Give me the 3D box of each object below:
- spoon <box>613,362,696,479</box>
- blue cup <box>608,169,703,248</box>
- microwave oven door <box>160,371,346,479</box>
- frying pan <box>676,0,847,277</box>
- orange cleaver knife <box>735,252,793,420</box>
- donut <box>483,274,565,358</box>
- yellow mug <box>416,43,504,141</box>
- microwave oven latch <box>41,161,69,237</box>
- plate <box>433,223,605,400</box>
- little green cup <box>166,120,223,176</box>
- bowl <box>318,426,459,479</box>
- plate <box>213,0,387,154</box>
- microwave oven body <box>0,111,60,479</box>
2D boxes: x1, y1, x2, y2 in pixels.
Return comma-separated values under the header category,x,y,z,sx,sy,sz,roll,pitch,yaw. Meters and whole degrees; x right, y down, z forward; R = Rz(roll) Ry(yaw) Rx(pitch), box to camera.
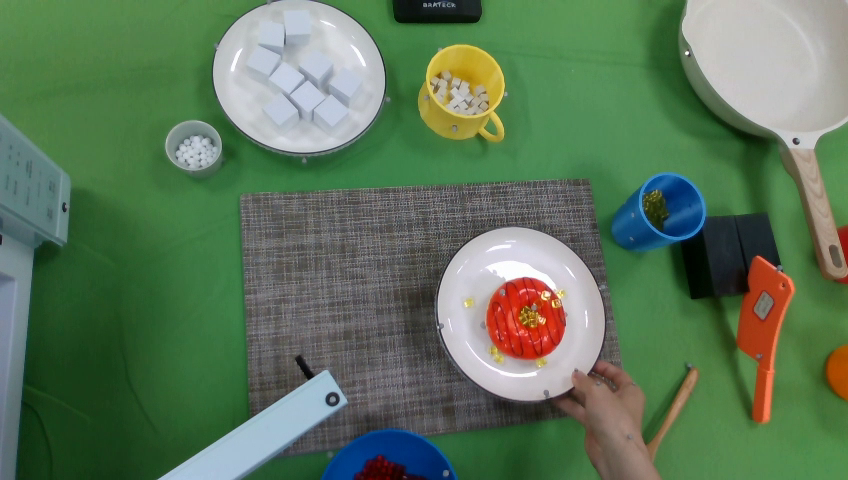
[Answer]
category,x,y,z,sx,sy,sz,roll,pitch,yaw
spoon,0.290,0.228,0.744,0.041,0.022,0.193,37,73,10
blue cup,0.282,-0.031,0.761,0.093,0.100,0.092,3,75,-11
microwave oven door,-0.227,0.225,0.516,0.356,0.244,0.039,-33,84,-16
frying pan,0.496,-0.182,0.834,0.307,0.103,0.484,1,69,-9
orange cleaver knife,0.420,0.122,0.762,0.012,0.076,0.212,-5,107,-11
donut,0.115,0.088,0.701,0.099,0.048,0.098,3,76,-11
yellow mug,0.055,-0.179,0.772,0.100,0.064,0.131,-42,88,-17
microwave oven latch,-0.401,-0.044,0.651,0.030,0.029,0.079,0,78,-11
plate,0.110,0.083,0.713,0.210,0.038,0.208,4,74,-12
little green cup,-0.265,-0.104,0.708,0.062,0.038,0.061,2,77,-10
bowl,-0.041,0.272,0.644,0.152,0.077,0.150,2,77,-10
plate,-0.151,-0.202,0.754,0.208,0.039,0.206,2,77,-10
microwave oven body,-0.521,0.108,0.494,0.327,0.260,0.439,-1,78,-11
